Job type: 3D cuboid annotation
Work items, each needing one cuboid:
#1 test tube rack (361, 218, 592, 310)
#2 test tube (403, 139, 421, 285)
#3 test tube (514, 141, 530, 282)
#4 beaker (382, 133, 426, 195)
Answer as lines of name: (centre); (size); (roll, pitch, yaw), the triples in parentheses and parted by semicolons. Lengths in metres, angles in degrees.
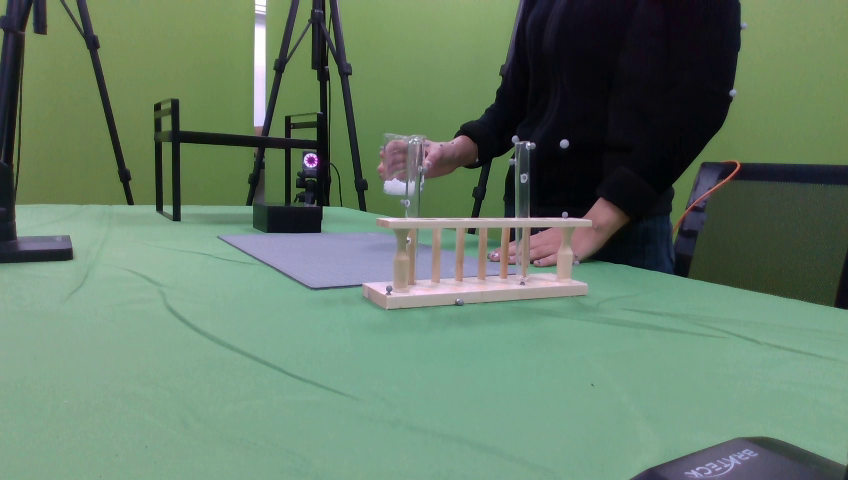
test tube rack: (0.060, 0.018, 0.640); (0.243, 0.085, 0.066); (-1, 8, -27)
test tube: (-0.013, -0.027, 0.618); (0.017, 0.150, 0.017); (2, 7, 0)
test tube: (0.103, -0.028, 0.636); (0.017, 0.150, 0.017); (-2, 12, 1)
beaker: (-0.034, -0.126, 1.009); (0.074, 0.100, 0.084); (0, 8, -6)
